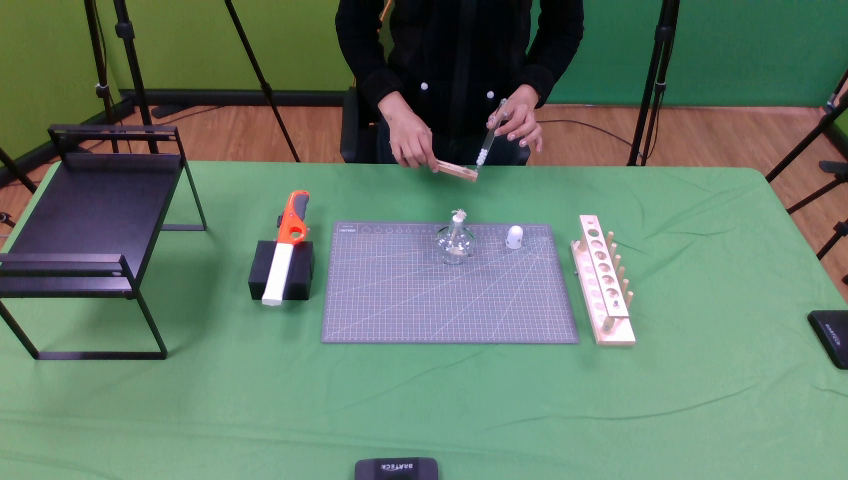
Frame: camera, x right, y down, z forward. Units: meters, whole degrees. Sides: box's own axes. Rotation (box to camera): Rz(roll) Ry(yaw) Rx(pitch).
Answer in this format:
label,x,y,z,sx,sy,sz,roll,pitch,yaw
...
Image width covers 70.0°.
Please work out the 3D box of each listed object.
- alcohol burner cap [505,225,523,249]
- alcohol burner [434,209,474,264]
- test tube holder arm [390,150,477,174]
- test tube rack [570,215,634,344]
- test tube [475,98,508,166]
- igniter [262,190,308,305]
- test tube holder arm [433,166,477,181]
label,x,y,z,sx,sy,sz,roll,pitch,yaw
alcohol burner cap,0.180,-0.009,1.203,0.034,0.048,0.033,2,47,-2
alcohol burner,0.058,-0.011,1.147,0.078,0.119,0.077,3,44,-3
test tube holder arm,0.019,-0.152,1.211,0.178,0.015,0.013,15,59,2
test tube rack,0.334,0.067,1.116,0.067,0.085,0.241,1,46,-3
test tube,0.125,-0.198,1.131,0.017,0.151,0.017,11,44,-11
igniter,-0.252,0.004,1.107,0.057,0.025,0.275,7,47,-6
test tube holder arm,0.061,-0.136,1.206,0.088,0.015,0.010,15,59,2
